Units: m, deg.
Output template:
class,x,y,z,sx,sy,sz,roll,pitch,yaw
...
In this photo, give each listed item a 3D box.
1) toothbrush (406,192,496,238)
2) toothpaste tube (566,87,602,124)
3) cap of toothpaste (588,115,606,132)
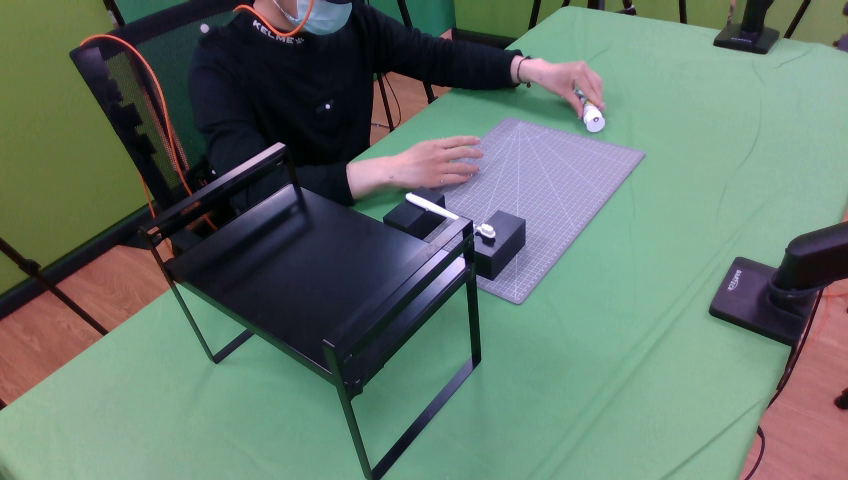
class,x,y,z,sx,sy,sz,roll,pitch,yaw
toothbrush,0.037,-0.043,0.937,0.180,0.017,0.014,26,66,35
toothpaste tube,0.334,-0.276,1.234,0.055,0.034,0.164,11,37,-11
cap of toothpaste,0.335,-0.227,1.171,0.037,0.037,0.011,-8,41,-1
